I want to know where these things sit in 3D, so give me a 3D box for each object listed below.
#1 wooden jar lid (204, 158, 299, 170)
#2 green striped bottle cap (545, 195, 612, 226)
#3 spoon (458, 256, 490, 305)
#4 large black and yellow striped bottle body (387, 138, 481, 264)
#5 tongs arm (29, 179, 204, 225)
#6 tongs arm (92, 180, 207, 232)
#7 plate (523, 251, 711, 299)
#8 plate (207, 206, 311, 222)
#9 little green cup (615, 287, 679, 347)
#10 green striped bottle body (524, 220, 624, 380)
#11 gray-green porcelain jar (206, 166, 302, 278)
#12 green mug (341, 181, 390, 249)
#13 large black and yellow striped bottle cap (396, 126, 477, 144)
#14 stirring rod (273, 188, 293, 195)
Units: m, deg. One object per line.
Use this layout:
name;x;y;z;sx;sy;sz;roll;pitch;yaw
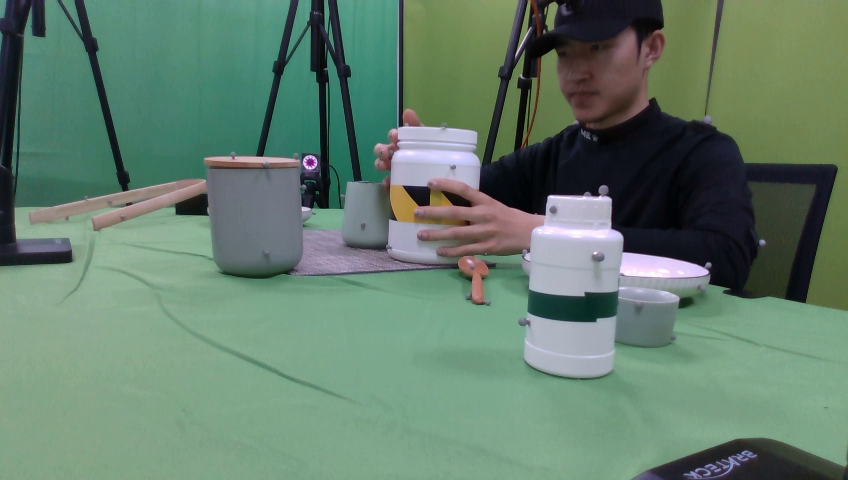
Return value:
wooden jar lid;-0.202;-0.086;0.714;0.108;0.020;0.108;3;11;0
green striped bottle cap;0.105;-0.020;0.414;0.044;0.020;0.044;2;4;0
spoon;0.059;0.044;0.695;0.041;0.021;0.194;17;7;1
large black and yellow striped bottle body;0.014;-0.064;0.868;0.131;0.184;0.130;3;7;0
tongs arm;-0.609;-0.083;1.245;0.050;0.026;0.386;5;16;23
tongs arm;-0.534;-0.076;1.221;0.028;0.028;0.388;-2;15;12
plate;0.219;0.041;0.706;0.209;0.038;0.209;2;7;0
plate;-0.342;-0.050;1.259;0.208;0.039;0.207;3;7;0
little green cup;0.180;0.064;0.506;0.061;0.038;0.061;2;8;0
green striped bottle body;0.104;0.031;0.422;0.063;0.119;0.063;2;8;0
gray-green porcelain jar;-0.201;-0.024;0.725;0.106;0.126;0.106;-1;9;1
green mug;-0.090;-0.044;0.996;0.093;0.105;0.125;0;7;-9
large black and yellow striped bottle cap;0.018;-0.148;0.857;0.115;0.019;0.115;4;7;0
stirring rod;-0.353;-0.122;1.518;0.006;0.014;0.176;1;7;2
